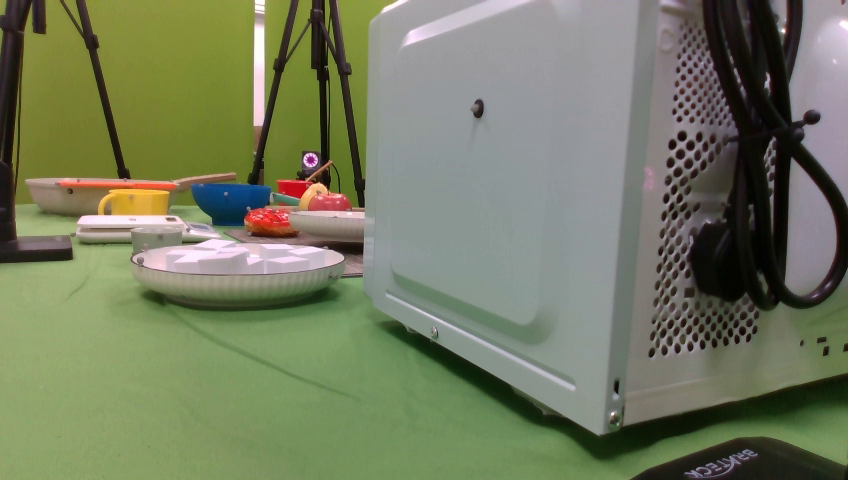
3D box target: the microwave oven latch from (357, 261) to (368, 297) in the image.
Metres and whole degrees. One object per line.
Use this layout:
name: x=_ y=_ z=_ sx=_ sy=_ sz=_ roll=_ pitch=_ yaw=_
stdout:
microwave oven latch: x=-0.019 y=0.033 z=0.531 sx=0.079 sy=0.029 sz=0.030 roll=-1 pitch=7 yaw=-27

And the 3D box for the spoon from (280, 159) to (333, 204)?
spoon: x=-0.316 y=-0.159 z=1.640 sx=0.194 sy=0.022 sz=0.041 roll=-50 pitch=32 yaw=-20

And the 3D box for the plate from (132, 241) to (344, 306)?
plate: x=-0.187 y=0.033 z=0.625 sx=0.208 sy=0.039 sz=0.207 roll=2 pitch=8 yaw=0

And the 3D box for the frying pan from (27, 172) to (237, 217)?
frying pan: x=-0.624 y=-0.118 z=1.387 sx=0.305 sy=0.102 sz=0.490 roll=8 pitch=17 yaw=32

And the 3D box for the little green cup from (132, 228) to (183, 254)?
little green cup: x=-0.342 y=0.006 z=0.779 sx=0.061 sy=0.038 sz=0.061 roll=2 pitch=8 yaw=0

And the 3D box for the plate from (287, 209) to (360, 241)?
plate: x=-0.107 y=-0.024 z=0.938 sx=0.209 sy=0.038 sz=0.209 roll=2 pitch=5 yaw=0

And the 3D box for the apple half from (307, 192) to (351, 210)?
apple half: x=-0.174 y=-0.049 z=1.087 sx=0.081 sy=0.074 sz=0.053 roll=6 pitch=11 yaw=2

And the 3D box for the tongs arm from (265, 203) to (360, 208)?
tongs arm: x=-0.211 y=-0.070 z=1.440 sx=0.389 sy=0.027 sz=0.028 roll=1 pitch=0 yaw=-17

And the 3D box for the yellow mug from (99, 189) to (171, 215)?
yellow mug: x=-0.519 y=-0.055 z=1.080 sx=0.099 sy=0.064 sz=0.131 roll=7 pitch=9 yaw=26

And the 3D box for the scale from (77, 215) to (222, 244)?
scale: x=-0.434 y=-0.019 z=0.963 sx=0.202 sy=0.031 sz=0.148 roll=-1 pitch=9 yaw=-27

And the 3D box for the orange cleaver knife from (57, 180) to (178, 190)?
orange cleaver knife: x=-0.600 y=-0.109 z=1.189 sx=0.212 sy=0.012 sz=0.077 roll=-1 pitch=11 yaw=-26

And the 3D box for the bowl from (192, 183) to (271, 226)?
bowl: x=-0.382 y=-0.071 z=1.202 sx=0.151 sy=0.077 sz=0.151 roll=3 pitch=7 yaw=0

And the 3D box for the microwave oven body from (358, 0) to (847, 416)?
microwave oven body: x=0.211 y=-0.047 z=0.475 sx=0.444 sy=0.260 sz=0.324 roll=-1 pitch=7 yaw=-28

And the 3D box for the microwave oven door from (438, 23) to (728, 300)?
microwave oven door: x=0.181 y=-0.072 z=0.621 sx=0.358 sy=0.243 sz=0.039 roll=-2 pitch=8 yaw=-29

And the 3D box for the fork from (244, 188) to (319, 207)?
fork: x=-0.356 y=-0.105 z=1.526 sx=0.208 sy=0.018 sz=0.028 roll=16 pitch=-5 yaw=-41

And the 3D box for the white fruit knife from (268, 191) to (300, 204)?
white fruit knife: x=-0.364 y=-0.105 z=1.464 sx=0.208 sy=0.027 sz=0.016 roll=15 pitch=-1 yaw=-34

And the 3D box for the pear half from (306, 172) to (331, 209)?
pear half: x=-0.200 y=-0.079 z=1.203 sx=0.056 sy=0.110 sz=0.076 roll=2 pitch=11 yaw=2

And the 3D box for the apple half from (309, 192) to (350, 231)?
apple half: x=-0.173 y=-0.055 z=1.125 sx=0.081 sy=0.081 sz=0.033 roll=2 pitch=10 yaw=3

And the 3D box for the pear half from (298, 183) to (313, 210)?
pear half: x=-0.235 y=-0.071 z=1.207 sx=0.031 sy=0.088 sz=0.070 roll=3 pitch=10 yaw=0

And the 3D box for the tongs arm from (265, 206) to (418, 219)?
tongs arm: x=-0.174 y=-0.061 z=1.363 sx=0.387 sy=0.026 sz=0.050 roll=-1 pitch=5 yaw=-31

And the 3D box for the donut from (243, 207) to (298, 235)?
donut: x=-0.261 y=-0.032 z=1.043 sx=0.099 sy=0.048 sz=0.099 roll=4 pitch=9 yaw=0
